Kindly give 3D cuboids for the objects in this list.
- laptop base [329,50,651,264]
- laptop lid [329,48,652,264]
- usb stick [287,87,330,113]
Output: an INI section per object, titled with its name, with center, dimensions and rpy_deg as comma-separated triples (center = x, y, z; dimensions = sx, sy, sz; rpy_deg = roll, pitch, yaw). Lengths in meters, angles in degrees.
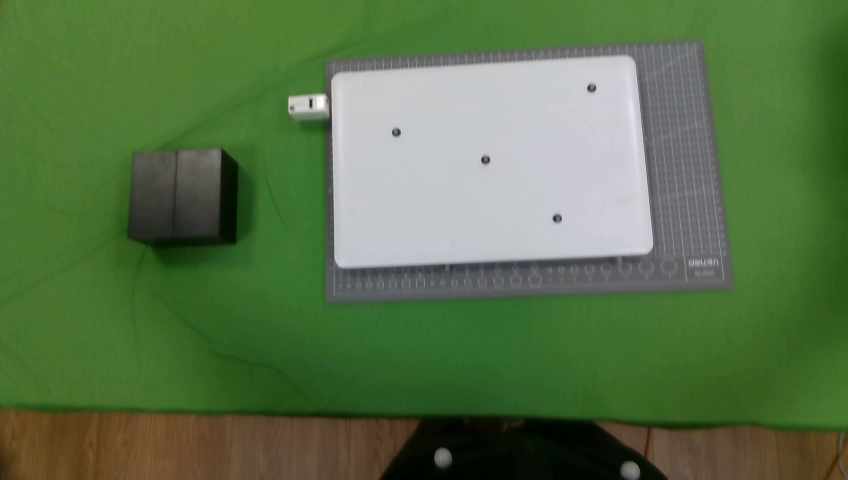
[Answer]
[laptop base]
center = 0.070, -0.096, 0.694
dimensions = 0.354, 0.023, 0.234
rpy_deg = -3, 83, 2
[laptop lid]
center = 0.070, -0.096, 0.682
dimensions = 0.357, 0.013, 0.241
rpy_deg = -1, 82, 3
[usb stick]
center = -0.127, -0.162, 0.704
dimensions = 0.059, 0.027, 0.021
rpy_deg = -2, 80, 3
